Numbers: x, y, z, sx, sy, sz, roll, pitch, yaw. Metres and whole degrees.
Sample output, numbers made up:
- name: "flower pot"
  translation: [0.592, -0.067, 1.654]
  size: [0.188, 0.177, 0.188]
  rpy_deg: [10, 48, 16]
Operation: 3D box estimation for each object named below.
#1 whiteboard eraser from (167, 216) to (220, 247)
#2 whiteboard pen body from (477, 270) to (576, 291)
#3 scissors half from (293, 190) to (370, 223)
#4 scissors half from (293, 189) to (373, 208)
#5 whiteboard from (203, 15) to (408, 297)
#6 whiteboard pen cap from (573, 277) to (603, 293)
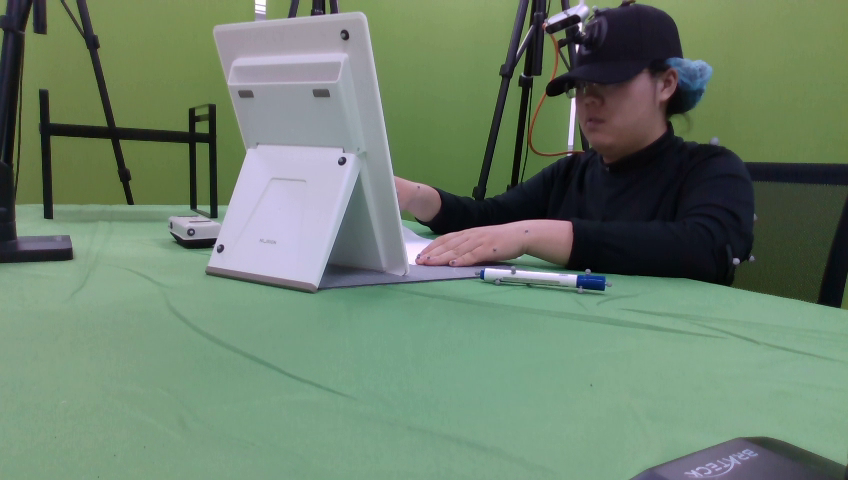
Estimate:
- name: "whiteboard eraser"
  translation: [-0.350, -0.013, 0.920]
  size: [0.056, 0.042, 0.112]
  rpy_deg: [0, 7, -35]
- name: "whiteboard pen body"
  translation: [0.131, 0.048, 0.706]
  size: [0.140, 0.017, 0.017]
  rpy_deg: [4, 8, 18]
- name: "scissors half"
  translation: [-0.205, -0.077, 1.338]
  size: [0.175, 0.040, 0.013]
  rpy_deg: [22, 12, -8]
- name: "scissors half"
  translation: [-0.201, -0.096, 1.332]
  size: [0.175, 0.040, 0.013]
  rpy_deg: [5, 19, -4]
- name: "whiteboard"
  translation: [-0.166, -0.072, 0.669]
  size: [0.216, 0.305, 0.144]
  rpy_deg: [8, 30, 30]
- name: "whiteboard pen cap"
  translation: [0.186, 0.051, 0.687]
  size: [0.033, 0.018, 0.018]
  rpy_deg: [4, 8, 17]
